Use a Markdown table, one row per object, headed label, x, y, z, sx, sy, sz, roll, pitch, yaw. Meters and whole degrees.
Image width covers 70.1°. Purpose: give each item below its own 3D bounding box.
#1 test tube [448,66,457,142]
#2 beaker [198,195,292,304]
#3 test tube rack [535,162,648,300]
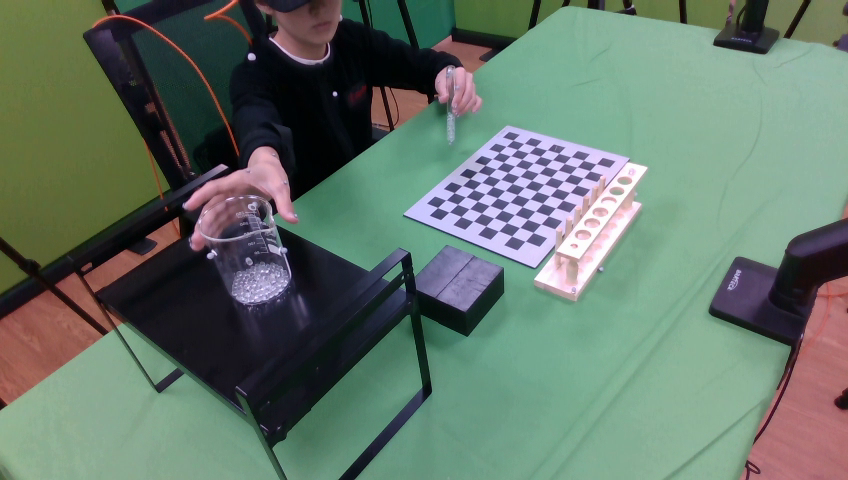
| label | x | y | z | sx | sy | sz | roll | pitch | yaw |
| --- | --- | --- | --- | --- | --- | --- | --- | --- | --- |
| test tube | 0.052 | -0.246 | 1.106 | 0.017 | 0.151 | 0.017 | -1 | 41 | 1 |
| beaker | -0.185 | 0.014 | 0.651 | 0.083 | 0.101 | 0.074 | 9 | 44 | 17 |
| test tube rack | 0.257 | -0.024 | 0.916 | 0.066 | 0.085 | 0.243 | 22 | 49 | 30 |
